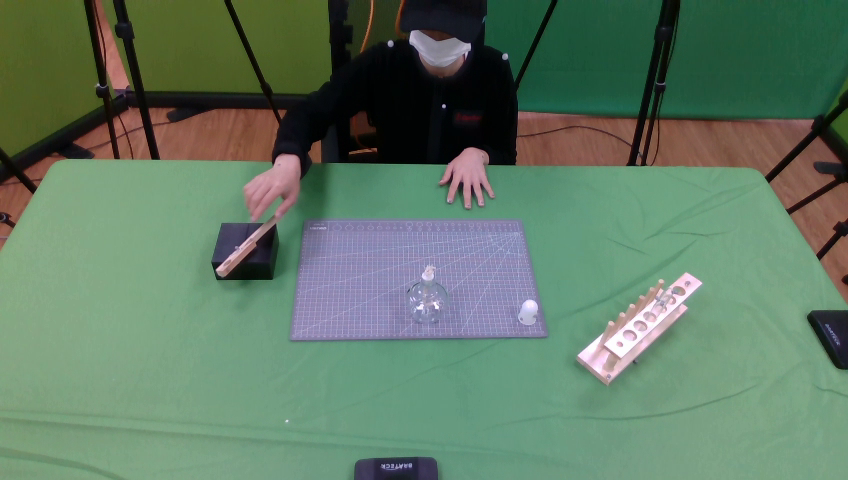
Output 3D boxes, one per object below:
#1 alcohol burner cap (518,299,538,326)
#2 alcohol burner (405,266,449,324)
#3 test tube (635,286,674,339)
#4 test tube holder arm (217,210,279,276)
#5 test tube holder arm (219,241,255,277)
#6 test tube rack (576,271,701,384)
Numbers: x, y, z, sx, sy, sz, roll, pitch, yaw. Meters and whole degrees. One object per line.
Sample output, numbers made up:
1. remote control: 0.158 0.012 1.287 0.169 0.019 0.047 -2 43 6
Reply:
1. alcohol burner cap: 0.186 0.126 1.072 0.034 0.048 0.033 1 45 -1
2. alcohol burner: 0.005 0.089 1.043 0.078 0.120 0.077 1 45 -1
3. test tube: 0.375 0.123 0.994 0.017 0.151 0.017 2 52 -2
4. test tube holder arm: -0.318 0.002 1.108 0.013 0.015 0.178 17 46 15
5. test tube holder arm: -0.331 0.032 1.076 0.010 0.015 0.087 19 47 17
6. test tube rack: 0.373 0.138 1.047 0.242 0.085 0.066 -31 56 -29
